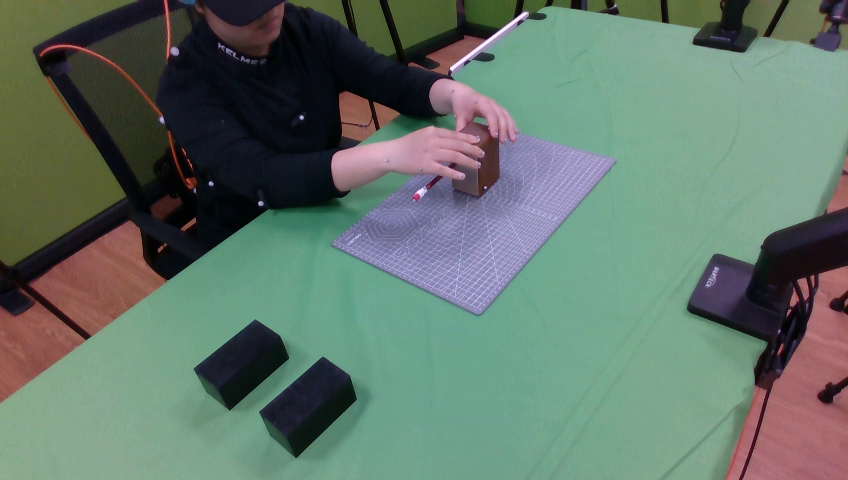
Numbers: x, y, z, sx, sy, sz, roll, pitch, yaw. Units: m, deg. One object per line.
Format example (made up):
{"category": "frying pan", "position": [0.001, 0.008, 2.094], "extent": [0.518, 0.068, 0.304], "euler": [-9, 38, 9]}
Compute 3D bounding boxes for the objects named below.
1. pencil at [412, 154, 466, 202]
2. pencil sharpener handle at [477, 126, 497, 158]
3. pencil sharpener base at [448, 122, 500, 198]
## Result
{"category": "pencil", "position": [0.040, -0.116, 0.987], "extent": [0.012, 0.012, 0.194], "euler": [21, 46, 30]}
{"category": "pencil sharpener handle", "position": [0.118, -0.180, 1.074], "extent": [0.035, 0.068, 0.031], "euler": [23, 49, 27]}
{"category": "pencil sharpener base", "position": [0.090, -0.140, 1.052], "extent": [0.061, 0.107, 0.077], "euler": [21, 48, 30]}
